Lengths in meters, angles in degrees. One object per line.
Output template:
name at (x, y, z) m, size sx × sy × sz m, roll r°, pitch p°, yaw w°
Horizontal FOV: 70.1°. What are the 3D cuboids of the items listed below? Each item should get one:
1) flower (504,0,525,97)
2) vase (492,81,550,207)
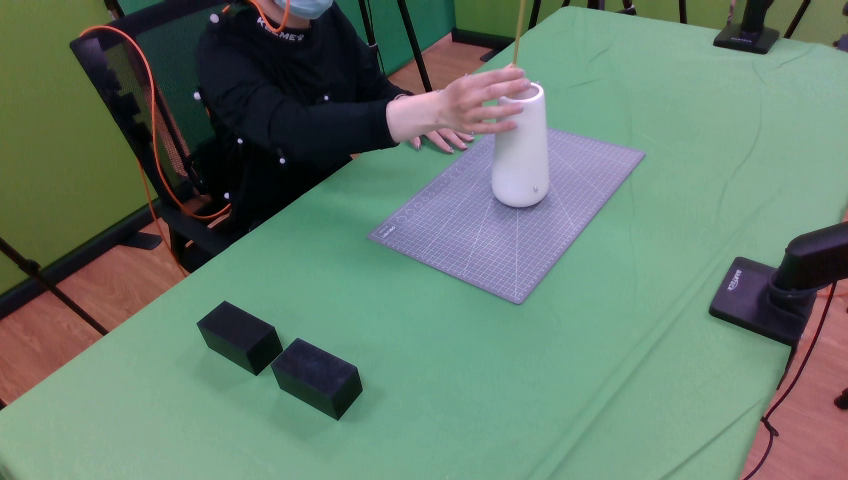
flower at (0.131, -0.282, 0.856) m, size 0.044 × 0.363 × 0.038 m, roll 22°, pitch 50°, yaw 16°
vase at (0.159, -0.151, 0.982) m, size 0.098 × 0.201 × 0.097 m, roll -3°, pitch 41°, yaw 3°
